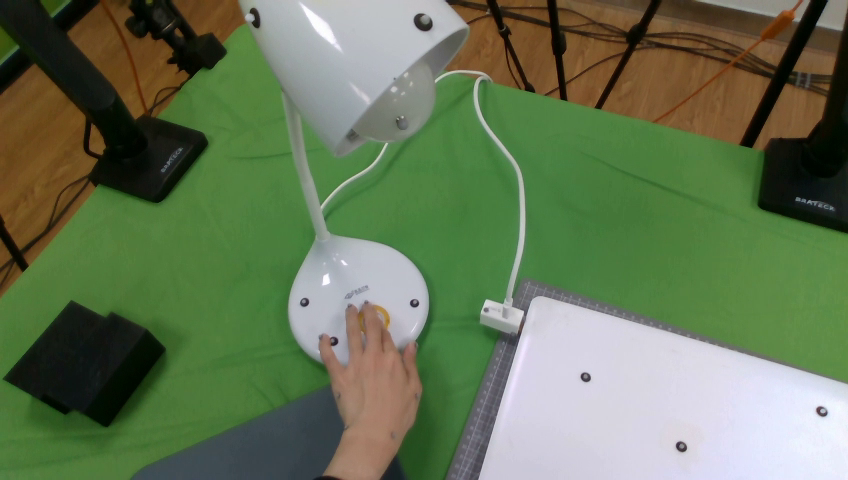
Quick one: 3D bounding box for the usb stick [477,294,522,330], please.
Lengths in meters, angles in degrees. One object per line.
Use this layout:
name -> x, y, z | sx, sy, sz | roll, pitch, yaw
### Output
usb stick -> 0.089, 0.081, 0.662 | 0.059, 0.027, 0.021 | 20, 56, 10

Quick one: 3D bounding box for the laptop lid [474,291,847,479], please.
laptop lid -> 0.245, 0.195, 0.585 | 0.355, 0.013, 0.240 | 17, 62, 13

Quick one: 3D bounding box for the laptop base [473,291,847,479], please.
laptop base -> 0.246, 0.199, 0.596 | 0.353, 0.023, 0.234 | 16, 63, 12

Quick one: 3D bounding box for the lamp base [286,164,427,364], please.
lamp base -> -0.088, 0.016, 0.630 | 0.160, 0.182, 0.177 | -36, 60, -18

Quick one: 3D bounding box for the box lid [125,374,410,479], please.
box lid -> -0.111, 0.320, 0.539 | 0.263, 0.015, 0.367 | -23, 61, -11

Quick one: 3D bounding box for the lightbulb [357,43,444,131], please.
lightbulb -> -0.025, -0.117, 0.352 | 0.059, 0.059, 0.108 | -19, 98, -9

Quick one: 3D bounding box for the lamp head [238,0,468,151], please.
lamp head -> -0.053, -0.130, 0.361 | 0.123, 0.112, 0.112 | 45, 67, 0
